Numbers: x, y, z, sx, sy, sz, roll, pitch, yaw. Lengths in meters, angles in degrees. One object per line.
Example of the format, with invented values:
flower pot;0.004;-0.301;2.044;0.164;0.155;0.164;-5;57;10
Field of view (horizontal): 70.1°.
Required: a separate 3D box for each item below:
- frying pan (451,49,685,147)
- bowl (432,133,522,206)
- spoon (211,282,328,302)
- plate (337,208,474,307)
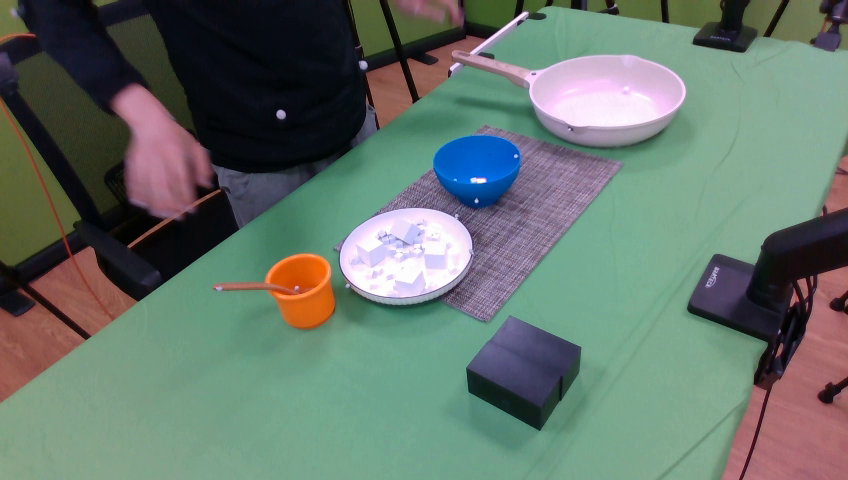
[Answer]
frying pan;0.269;-0.316;1.233;0.485;0.103;0.307;26;49;21
bowl;0.092;-0.110;1.034;0.151;0.077;0.150;-4;40;4
spoon;-0.205;0.067;0.822;0.041;0.195;0.021;28;96;35
plate;-0.026;0.028;0.921;0.207;0.039;0.206;-4;40;4
